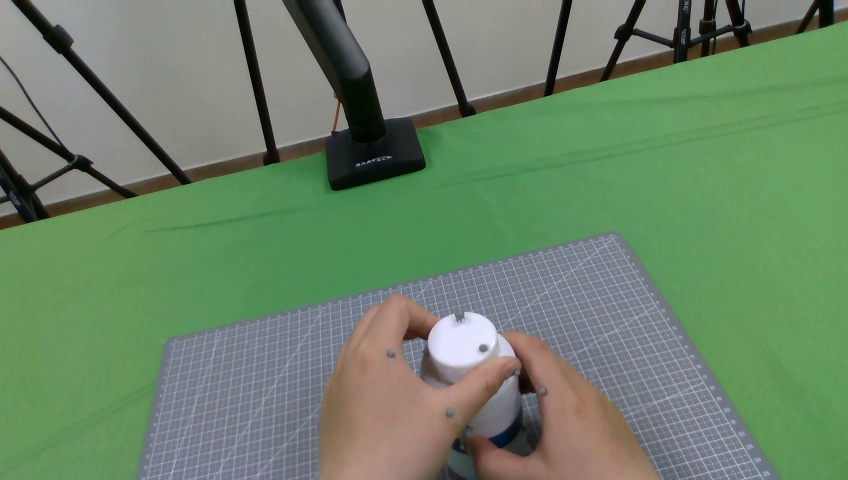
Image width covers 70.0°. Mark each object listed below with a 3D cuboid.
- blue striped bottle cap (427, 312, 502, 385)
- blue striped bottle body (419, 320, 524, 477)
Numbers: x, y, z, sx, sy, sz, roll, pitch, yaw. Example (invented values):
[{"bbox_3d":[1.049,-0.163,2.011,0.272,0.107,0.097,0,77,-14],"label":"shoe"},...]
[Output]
[{"bbox_3d":[0.025,0.066,0.373,0.044,0.021,0.044,-11,41,10],"label":"blue striped bottle cap"},{"bbox_3d":[0.033,0.103,0.407,0.063,0.122,0.062,-7,43,7],"label":"blue striped bottle body"}]
